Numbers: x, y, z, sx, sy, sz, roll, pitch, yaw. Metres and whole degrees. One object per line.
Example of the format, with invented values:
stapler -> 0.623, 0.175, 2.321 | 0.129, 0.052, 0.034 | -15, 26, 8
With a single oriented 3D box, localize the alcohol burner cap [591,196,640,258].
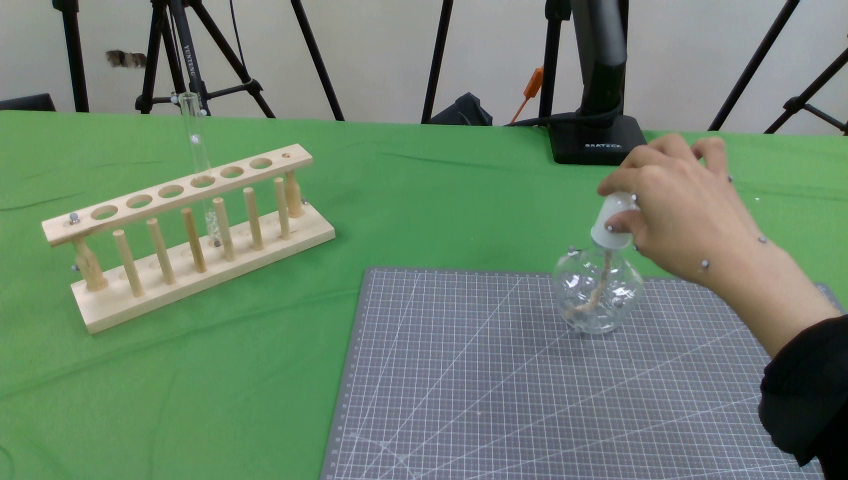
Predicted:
alcohol burner cap -> 0.155, -0.013, 0.484 | 0.034, 0.048, 0.033 | 5, 38, -4

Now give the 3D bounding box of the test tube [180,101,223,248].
test tube -> -0.208, -0.057, 0.573 | 0.017, 0.151, 0.017 | 1, 32, 0

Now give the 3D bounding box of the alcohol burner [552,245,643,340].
alcohol burner -> 0.151, 0.028, 0.518 | 0.078, 0.120, 0.077 | 1, 39, 0

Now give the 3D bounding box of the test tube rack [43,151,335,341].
test tube rack -> -0.212, -0.002, 0.583 | 0.243, 0.086, 0.066 | -23, 43, -28
